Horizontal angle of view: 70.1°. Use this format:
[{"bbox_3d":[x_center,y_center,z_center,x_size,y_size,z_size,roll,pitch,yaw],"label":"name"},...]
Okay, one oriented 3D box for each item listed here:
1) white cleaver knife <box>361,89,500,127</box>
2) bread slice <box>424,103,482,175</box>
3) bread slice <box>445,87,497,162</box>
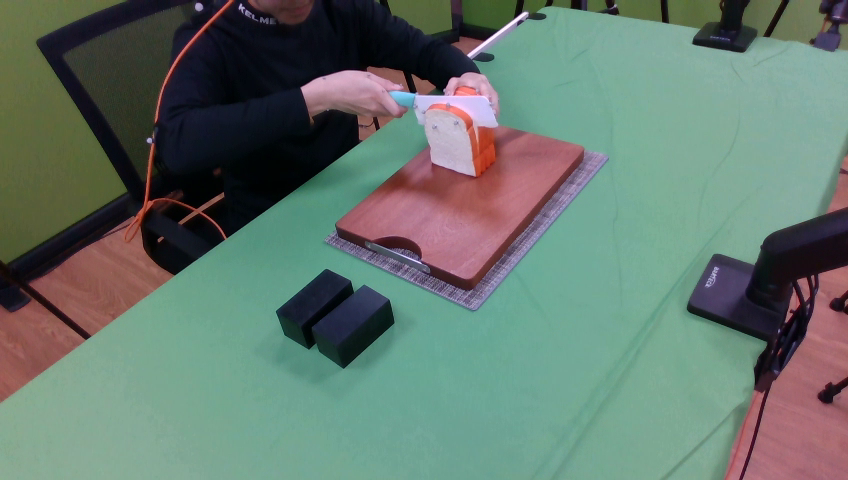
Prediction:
[{"bbox_3d":[0.001,-0.224,1.040,0.284,0.066,0.021,13,49,36],"label":"white cleaver knife"},{"bbox_3d":[0.045,-0.174,1.039,0.104,0.132,0.019,20,54,31],"label":"bread slice"},{"bbox_3d":[0.080,-0.204,1.068,0.106,0.135,0.018,24,50,28],"label":"bread slice"}]
